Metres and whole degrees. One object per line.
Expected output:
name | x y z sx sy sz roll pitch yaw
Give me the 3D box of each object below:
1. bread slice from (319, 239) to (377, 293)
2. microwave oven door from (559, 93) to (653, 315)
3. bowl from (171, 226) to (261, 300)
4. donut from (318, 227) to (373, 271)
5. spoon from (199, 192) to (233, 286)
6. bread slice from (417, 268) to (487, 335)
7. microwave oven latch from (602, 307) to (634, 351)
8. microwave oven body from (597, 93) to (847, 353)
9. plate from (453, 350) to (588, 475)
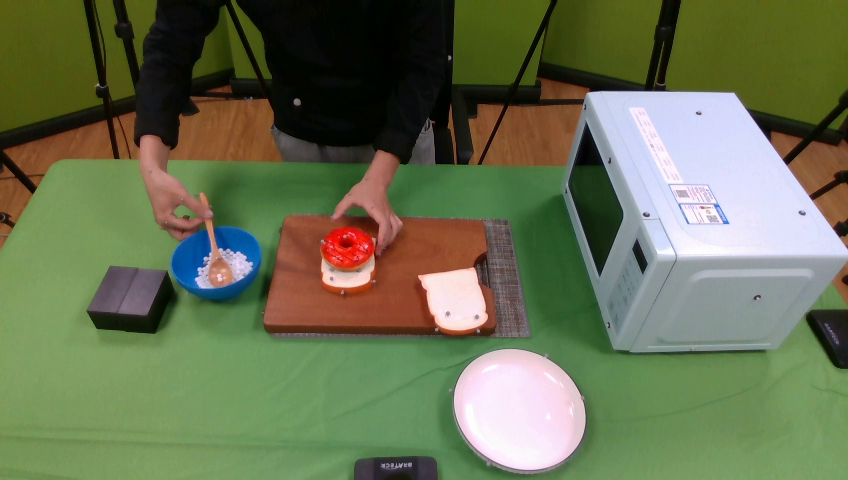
bread slice | -0.140 0.044 1.111 0.105 0.019 0.130 0 44 -3
microwave oven door | 0.327 -0.074 1.123 0.039 0.245 0.353 -1 46 -5
bowl | -0.363 0.054 1.080 0.151 0.077 0.150 2 45 -2
donut | -0.142 0.017 1.095 0.099 0.048 0.098 2 44 -2
spoon | -0.378 -0.003 1.084 0.042 0.022 0.193 -13 72 -16
bread slice | 0.055 0.107 1.063 0.107 0.018 0.133 -9 48 -12
microwave oven latch | 0.332 0.153 1.044 0.030 0.029 0.078 -1 45 -4
microwave oven body | 0.475 -0.041 1.109 0.326 0.261 0.438 -1 45 -4
plate | 0.147 0.267 0.943 0.208 0.039 0.206 2 45 -2
